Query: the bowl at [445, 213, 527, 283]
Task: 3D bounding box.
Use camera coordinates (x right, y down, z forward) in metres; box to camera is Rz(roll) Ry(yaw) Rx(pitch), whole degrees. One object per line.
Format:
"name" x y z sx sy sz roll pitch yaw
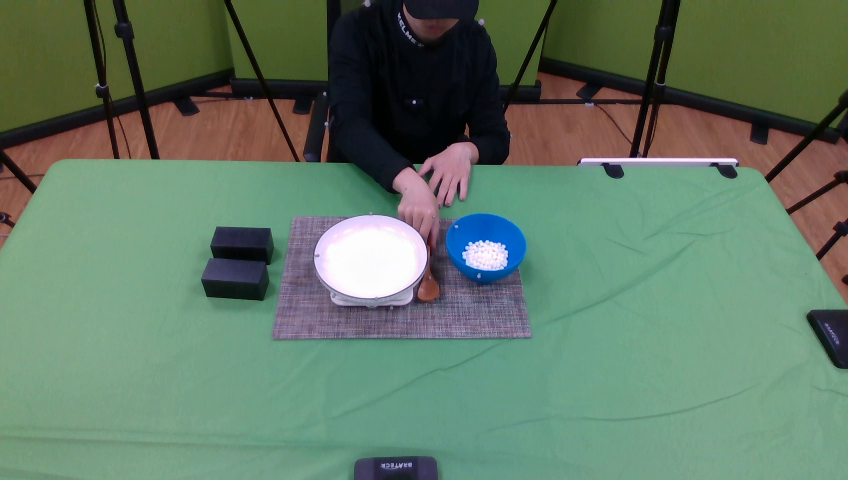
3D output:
"bowl" 0.112 0.027 1.136 0.151 0.077 0.150 2 46 -2

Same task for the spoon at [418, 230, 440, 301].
"spoon" 0.007 0.044 1.151 0.041 0.022 0.192 -9 45 6

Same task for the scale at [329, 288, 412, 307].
"scale" -0.098 0.042 1.139 0.149 0.032 0.199 0 46 -4

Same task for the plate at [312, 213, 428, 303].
"plate" -0.097 0.036 1.100 0.209 0.038 0.208 2 46 -2
